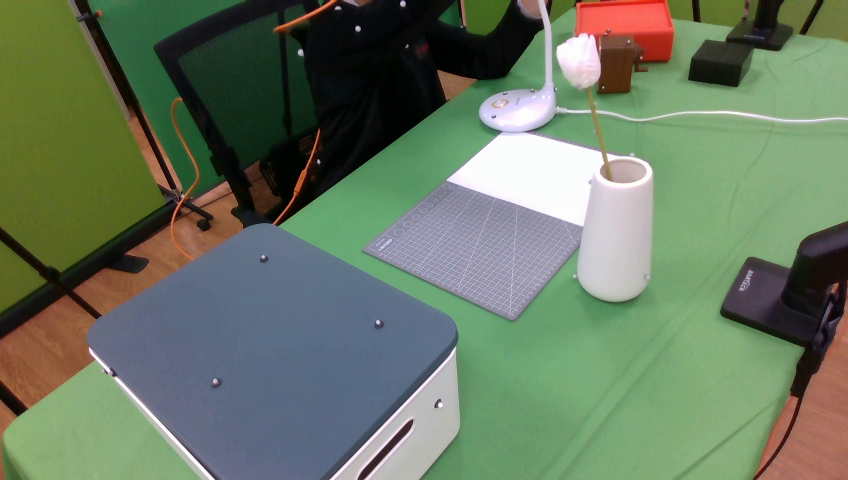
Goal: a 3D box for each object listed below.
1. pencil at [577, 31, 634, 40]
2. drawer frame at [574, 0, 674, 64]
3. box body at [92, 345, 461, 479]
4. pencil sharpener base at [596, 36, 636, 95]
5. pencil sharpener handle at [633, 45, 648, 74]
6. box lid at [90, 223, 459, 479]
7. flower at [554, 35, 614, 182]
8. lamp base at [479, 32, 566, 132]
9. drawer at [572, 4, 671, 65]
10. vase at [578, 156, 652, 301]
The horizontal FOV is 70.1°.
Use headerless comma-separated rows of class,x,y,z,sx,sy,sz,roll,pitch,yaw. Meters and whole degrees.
pencil,0.430,-0.488,1.443,0.012,0.012,0.192,-25,30,-18
drawer frame,0.464,-0.492,1.434,0.213,0.083,0.201,1,40,12
box body,-0.163,0.170,0.708,0.361,0.161,0.255,25,50,34
pencil sharpener base,0.406,-0.369,1.280,0.076,0.107,0.061,1,41,13
pencil sharpener handle,0.454,-0.378,1.262,0.030,0.068,0.036,1,47,13
box lid,-0.174,0.102,0.666,0.368,0.015,0.264,24,48,35
flower,0.237,-0.083,0.774,0.044,0.363,0.038,-22,26,6
lamp base,0.200,-0.332,1.219,0.179,0.181,0.160,1,40,8
drawer,0.461,-0.491,1.434,0.211,0.073,0.194,2,40,12
vase,0.261,-0.011,0.812,0.098,0.201,0.097,-4,40,4
